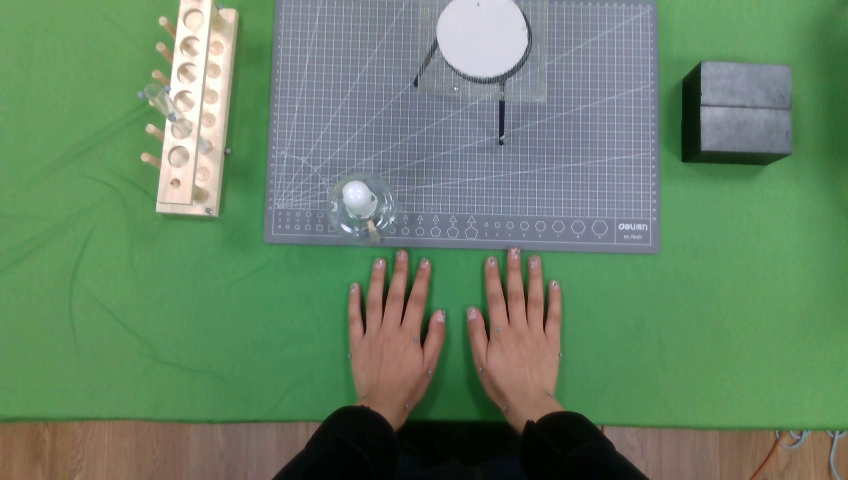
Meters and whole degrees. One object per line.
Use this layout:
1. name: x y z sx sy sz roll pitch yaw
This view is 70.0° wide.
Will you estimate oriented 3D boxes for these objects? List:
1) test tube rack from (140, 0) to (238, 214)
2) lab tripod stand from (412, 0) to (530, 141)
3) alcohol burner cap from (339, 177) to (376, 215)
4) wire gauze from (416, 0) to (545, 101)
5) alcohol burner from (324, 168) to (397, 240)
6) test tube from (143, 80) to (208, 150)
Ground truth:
1. test tube rack: -0.260 -0.156 0.662 0.067 0.085 0.241 4 84 1
2. lab tripod stand: 0.058 -0.191 0.641 0.148 0.132 0.148 0 82 1
3. alcohol burner cap: -0.067 -0.045 0.599 0.034 0.048 0.033 -1 80 5
4. wire gauze: 0.055 -0.194 0.575 0.125 0.011 0.121 2 84 0
5. alcohol burner: -0.067 -0.041 0.635 0.078 0.119 0.077 0 83 -2
6. test tube: -0.245 -0.121 0.609 0.017 0.150 0.017 1 79 -3
